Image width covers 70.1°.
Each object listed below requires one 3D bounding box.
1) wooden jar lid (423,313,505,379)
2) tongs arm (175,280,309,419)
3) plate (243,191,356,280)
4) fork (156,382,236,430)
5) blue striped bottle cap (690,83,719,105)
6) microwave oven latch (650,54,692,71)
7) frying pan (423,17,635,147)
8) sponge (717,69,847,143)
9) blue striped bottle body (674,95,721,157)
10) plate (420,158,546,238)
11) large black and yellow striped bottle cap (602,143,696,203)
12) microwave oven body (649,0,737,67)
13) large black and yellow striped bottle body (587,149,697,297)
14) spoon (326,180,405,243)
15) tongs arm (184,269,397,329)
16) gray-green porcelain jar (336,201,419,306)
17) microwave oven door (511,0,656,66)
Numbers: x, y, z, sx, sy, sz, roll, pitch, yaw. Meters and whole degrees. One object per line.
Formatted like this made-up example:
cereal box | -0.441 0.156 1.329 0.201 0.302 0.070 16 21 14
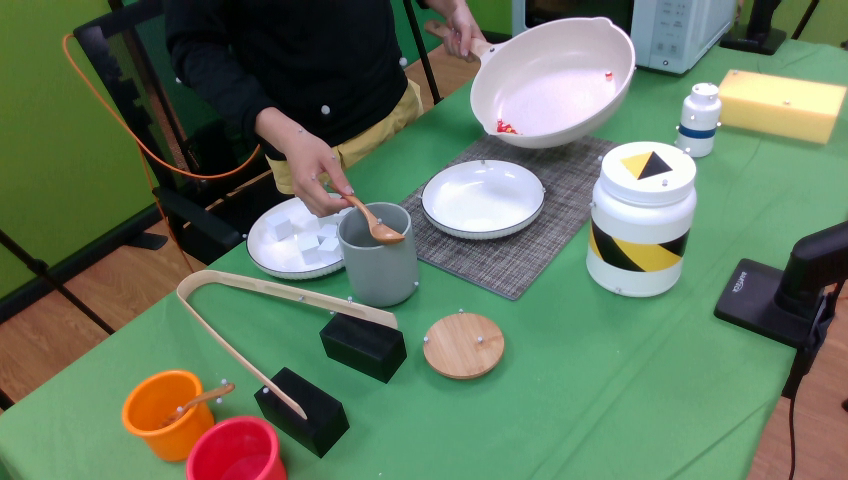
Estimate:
wooden jar lid | 0.053 0.142 0.800 0.108 0.021 0.108 -4 39 4
tongs arm | -0.254 0.133 0.801 0.028 0.028 0.384 -41 41 -23
plate | -0.187 -0.005 0.992 0.207 0.039 0.206 -4 41 4
fork | -0.262 0.189 0.690 0.018 0.206 0.028 49 43 -6
blue striped bottle cap | 0.481 -0.251 1.038 0.044 0.021 0.044 -5 40 5
microwave oven latch | 0.530 -0.386 1.301 0.078 0.029 0.030 23 50 32
frying pan | 0.163 -0.334 1.141 0.307 0.103 0.484 -44 57 -9
sponge | 0.663 -0.256 1.142 0.205 0.061 0.118 19 47 28
blue striped bottle body | 0.486 -0.213 1.071 0.063 0.121 0.063 -4 41 4
plate | 0.099 -0.067 1.017 0.209 0.038 0.208 -4 40 4
large black and yellow striped bottle cap | 0.289 -0.088 0.778 0.115 0.019 0.114 -4 39 4
microwave oven body | 0.475 -0.602 1.411 0.438 0.261 0.327 23 50 32
large black and yellow striped bottle body | 0.298 -0.026 0.835 0.131 0.185 0.130 -4 41 4
spoon | -0.087 -0.044 0.838 0.042 0.021 0.192 -8 37 -36
tongs arm | -0.203 0.085 0.847 0.382 0.027 0.051 11 45 35
gray-green porcelain jar | -0.064 0.024 0.872 0.106 0.127 0.105 -4 41 4
microwave oven door | 0.351 -0.539 1.349 0.353 0.245 0.039 24 50 31
